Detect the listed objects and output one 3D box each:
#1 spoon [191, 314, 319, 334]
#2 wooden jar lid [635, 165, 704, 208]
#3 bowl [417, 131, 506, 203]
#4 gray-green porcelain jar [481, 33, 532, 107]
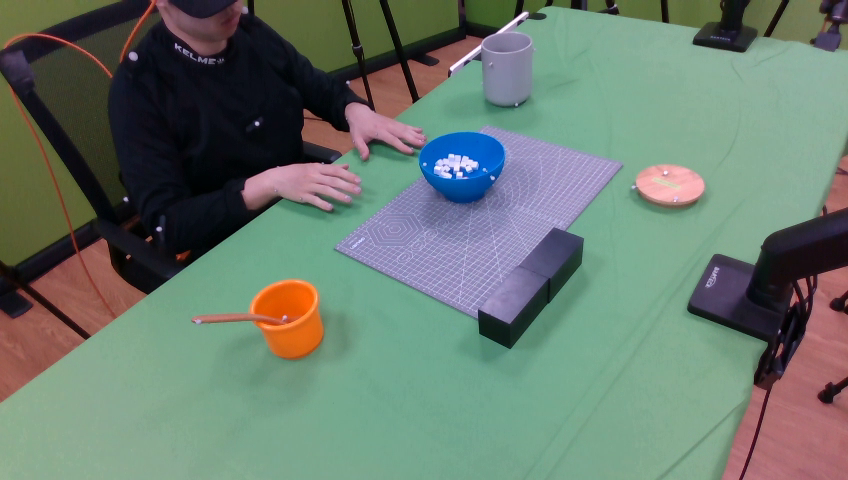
[{"bbox_3d":[-0.212,0.105,0.781,0.041,0.195,0.021,29,97,37],"label":"spoon"},{"bbox_3d":[0.410,-0.089,1.014,0.108,0.021,0.108,-5,42,5],"label":"wooden jar lid"},{"bbox_3d":[0.068,-0.117,1.048,0.151,0.077,0.150,-4,41,4],"label":"bowl"},{"bbox_3d":[0.175,-0.355,1.278,0.106,0.127,0.105,-4,41,4],"label":"gray-green porcelain jar"}]
